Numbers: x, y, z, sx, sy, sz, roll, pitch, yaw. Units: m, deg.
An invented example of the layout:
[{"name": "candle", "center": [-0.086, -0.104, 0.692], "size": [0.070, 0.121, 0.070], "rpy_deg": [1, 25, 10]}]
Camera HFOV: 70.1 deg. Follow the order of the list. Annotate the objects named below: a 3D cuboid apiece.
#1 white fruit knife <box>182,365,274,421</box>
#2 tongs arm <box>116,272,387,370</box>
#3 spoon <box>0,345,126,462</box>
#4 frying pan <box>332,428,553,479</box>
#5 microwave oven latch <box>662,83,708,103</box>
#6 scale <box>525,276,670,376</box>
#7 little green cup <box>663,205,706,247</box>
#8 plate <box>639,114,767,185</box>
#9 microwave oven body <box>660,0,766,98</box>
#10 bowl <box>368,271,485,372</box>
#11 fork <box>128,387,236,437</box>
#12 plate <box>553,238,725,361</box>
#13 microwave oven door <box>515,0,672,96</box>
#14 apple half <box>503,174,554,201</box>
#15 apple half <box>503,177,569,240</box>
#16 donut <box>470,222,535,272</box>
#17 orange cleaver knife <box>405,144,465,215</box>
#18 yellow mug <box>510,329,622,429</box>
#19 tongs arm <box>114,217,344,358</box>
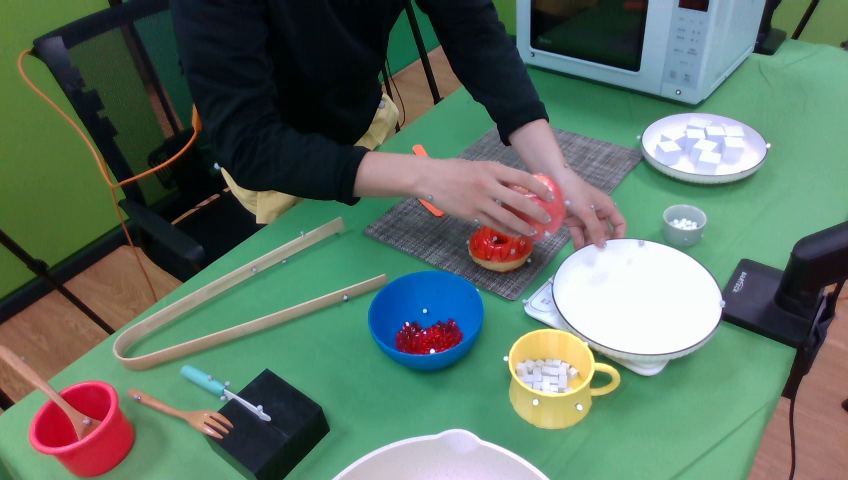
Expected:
[{"name": "white fruit knife", "center": [-0.245, 0.188, 0.747], "size": [0.205, 0.027, 0.016], "rpy_deg": [9, 41, 41]}, {"name": "tongs arm", "center": [-0.237, 0.114, 0.869], "size": [0.389, 0.028, 0.028], "rpy_deg": [-18, 48, -12]}, {"name": "spoon", "center": [-0.434, 0.191, 0.720], "size": [0.194, 0.021, 0.042], "rpy_deg": [47, 53, -6]}, {"name": "frying pan", "center": [-0.089, 0.306, 0.564], "size": [0.487, 0.103, 0.306], "rpy_deg": [10, 41, 7]}, {"name": "microwave oven latch", "center": [0.518, -0.296, 1.204], "size": [0.078, 0.029, 0.030], "rpy_deg": [28, 52, 35]}, {"name": "scale", "center": [0.255, 0.092, 0.821], "size": [0.199, 0.032, 0.149], "rpy_deg": [28, 51, 35]}, {"name": "little green cup", "center": [0.396, -0.020, 0.926], "size": [0.061, 0.039, 0.061], "rpy_deg": [-4, 40, 4]}, {"name": "plate", "center": [0.489, -0.157, 1.074], "size": [0.207, 0.039, 0.206], "rpy_deg": [-4, 40, 4]}, {"name": "microwave oven body", "center": [0.472, -0.513, 1.317], "size": [0.438, 0.261, 0.327], "rpy_deg": [26, 51, 34]}, {"name": "bowl", "center": [0.007, 0.119, 0.791], "size": [0.151, 0.077, 0.150], "rpy_deg": [-5, 39, 4]}, {"name": "fork", "center": [-0.305, 0.207, 0.744], "size": [0.206, 0.019, 0.028], "rpy_deg": [3, 41, 36]}, {"name": "plate", "center": [0.273, 0.078, 0.783], "size": [0.209, 0.038, 0.208], "rpy_deg": [-4, 41, 4]}, {"name": "microwave oven door", "center": [0.343, -0.454, 1.259], "size": [0.353, 0.245, 0.039], "rpy_deg": [26, 51, 33]}, {"name": "apple half", "center": [0.139, -0.056, 0.782], "size": [0.081, 0.081, 0.032], "rpy_deg": [-9, 40, -1]}, {"name": "apple half", "center": [0.143, -0.032, 0.752], "size": [0.081, 0.075, 0.053], "rpy_deg": [-13, 41, 3]}, {"name": "donut", "center": [0.119, 0.009, 0.923], "size": [0.099, 0.048, 0.098], "rpy_deg": [-5, 38, 5]}, {"name": "orange cleaver knife", "center": [0.005, -0.113, 1.102], "size": [0.077, 0.012, 0.209], "rpy_deg": [-23, 45, -10]}, {"name": "yellow mug", "center": [0.168, 0.164, 0.721], "size": [0.130, 0.064, 0.099], "rpy_deg": [0, 40, 8]}, {"name": "tongs arm", "center": [-0.280, 0.067, 0.927], "size": [0.386, 0.026, 0.050], "rpy_deg": [-29, 48, -23]}]
